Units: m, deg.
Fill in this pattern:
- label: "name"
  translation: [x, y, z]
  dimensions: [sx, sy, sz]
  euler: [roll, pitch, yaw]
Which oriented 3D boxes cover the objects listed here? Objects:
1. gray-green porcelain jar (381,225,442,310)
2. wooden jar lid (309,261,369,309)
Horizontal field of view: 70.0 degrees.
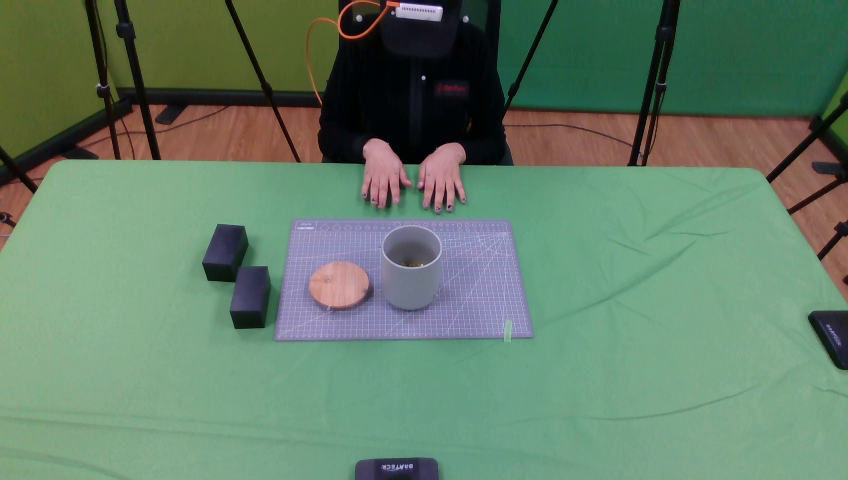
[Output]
- label: "gray-green porcelain jar"
  translation: [-0.023, 0.053, 1.068]
  dimensions: [0.106, 0.127, 0.105]
  euler: [2, 46, -2]
- label: "wooden jar lid"
  translation: [-0.155, 0.084, 1.104]
  dimensions: [0.108, 0.021, 0.107]
  euler: [3, 47, -3]
